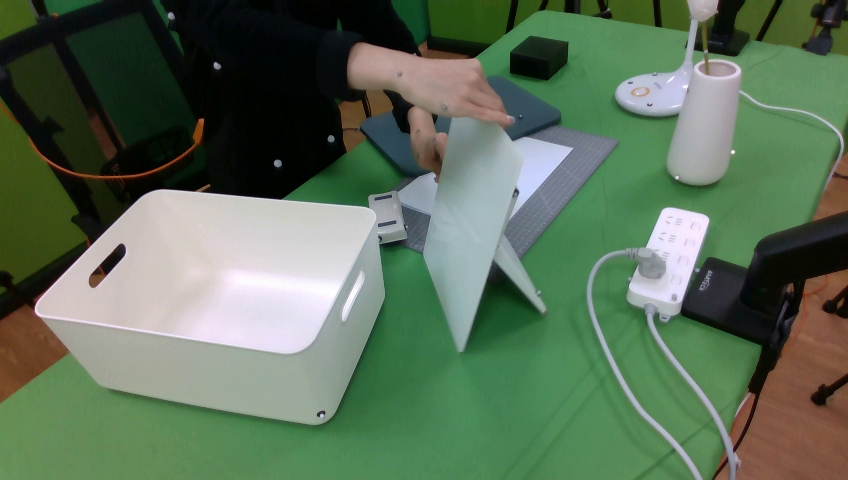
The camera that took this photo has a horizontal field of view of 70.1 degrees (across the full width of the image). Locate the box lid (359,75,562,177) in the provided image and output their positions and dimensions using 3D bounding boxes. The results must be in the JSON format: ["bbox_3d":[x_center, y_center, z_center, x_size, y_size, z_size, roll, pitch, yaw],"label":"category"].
[{"bbox_3d":[0.074,-0.249,1.267,0.373,0.015,0.261,-23,42,-18],"label":"box lid"}]

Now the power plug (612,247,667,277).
[{"bbox_3d":[0.306,0.031,0.852,0.072,0.053,0.035,22,49,37],"label":"power plug"}]

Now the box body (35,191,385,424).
[{"bbox_3d":[-0.254,0.081,0.807,0.363,0.161,0.253,5,42,14],"label":"box body"}]

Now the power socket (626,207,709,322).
[{"bbox_3d":[0.360,0.026,0.886,0.072,0.033,0.227,17,46,26],"label":"power socket"}]

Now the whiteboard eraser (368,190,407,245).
[{"bbox_3d":[-0.061,-0.035,1.006,0.056,0.042,0.112,-9,40,-3],"label":"whiteboard eraser"}]

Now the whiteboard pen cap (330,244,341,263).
[{"bbox_3d":[-0.142,0.021,0.975,0.018,0.018,0.033,-7,40,0],"label":"whiteboard pen cap"}]

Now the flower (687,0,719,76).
[{"bbox_3d":[0.436,-0.242,0.934,0.038,0.364,0.043,-24,49,8],"label":"flower"}]

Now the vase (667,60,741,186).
[{"bbox_3d":[0.463,-0.189,0.994,0.098,0.201,0.097,-4,40,3],"label":"vase"}]

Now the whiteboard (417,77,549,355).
[{"bbox_3d":[0.110,-0.027,0.815,0.144,0.306,0.215,2,37,-17],"label":"whiteboard"}]

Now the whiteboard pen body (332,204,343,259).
[{"bbox_3d":[-0.146,-0.015,1.021,0.017,0.017,0.140,-7,41,0],"label":"whiteboard pen body"}]

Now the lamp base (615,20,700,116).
[{"bbox_3d":[0.484,-0.364,1.211,0.180,0.181,0.159,-15,41,-14],"label":"lamp base"}]
